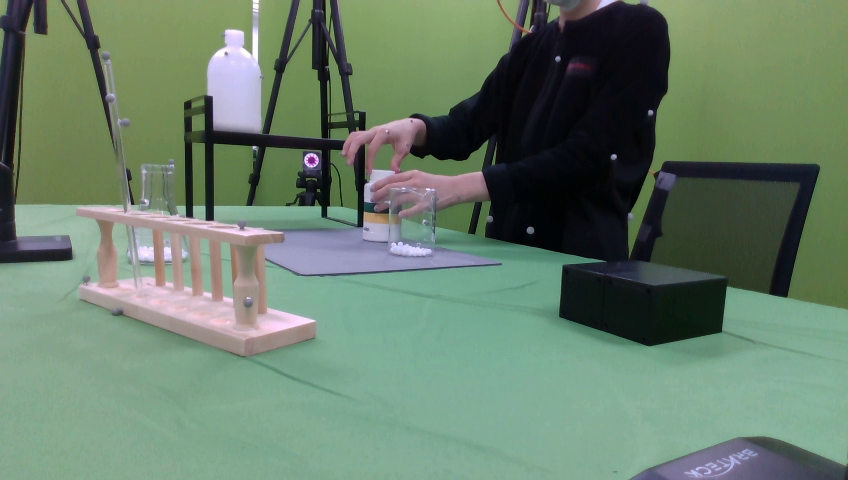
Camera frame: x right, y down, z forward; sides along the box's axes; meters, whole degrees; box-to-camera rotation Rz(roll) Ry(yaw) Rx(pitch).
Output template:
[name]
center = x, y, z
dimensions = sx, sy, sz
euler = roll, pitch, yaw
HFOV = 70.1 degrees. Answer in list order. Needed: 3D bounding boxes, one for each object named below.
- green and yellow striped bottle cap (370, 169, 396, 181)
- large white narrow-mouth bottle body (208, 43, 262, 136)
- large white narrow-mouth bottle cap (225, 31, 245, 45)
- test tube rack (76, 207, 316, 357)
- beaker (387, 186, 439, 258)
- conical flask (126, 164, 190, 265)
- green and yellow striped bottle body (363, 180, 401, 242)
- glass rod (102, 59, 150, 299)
[green and yellow striped bottle cap]
center = -0.070, -0.111, 1.030
dimensions = 0.045, 0.020, 0.045
euler = 4, 8, 0
[large white narrow-mouth bottle body]
center = -0.368, -0.304, 1.181
dimensions = 0.102, 0.194, 0.101
euler = 2, 9, 0
[large white narrow-mouth bottle cap]
center = -0.365, -0.388, 1.166
dimensions = 0.038, 0.024, 0.037
euler = 2, 9, 0
[test tube rack]
center = -0.196, 0.023, 0.500
dimensions = 0.241, 0.085, 0.067
euler = 8, 9, 36
[beaker]
center = -0.015, -0.027, 0.885
dimensions = 0.074, 0.100, 0.083
euler = -1, 8, -20
[conical flask]
center = -0.332, -0.033, 0.756
dimensions = 0.075, 0.122, 0.075
euler = 2, 7, 0
[green and yellow striped bottle body]
center = -0.072, -0.059, 1.036
dimensions = 0.063, 0.119, 0.063
euler = 3, 8, 0
[glass rod]
center = -0.243, -0.045, 0.496
dimensions = 0.008, 0.199, 0.008
euler = -4, 13, 1
